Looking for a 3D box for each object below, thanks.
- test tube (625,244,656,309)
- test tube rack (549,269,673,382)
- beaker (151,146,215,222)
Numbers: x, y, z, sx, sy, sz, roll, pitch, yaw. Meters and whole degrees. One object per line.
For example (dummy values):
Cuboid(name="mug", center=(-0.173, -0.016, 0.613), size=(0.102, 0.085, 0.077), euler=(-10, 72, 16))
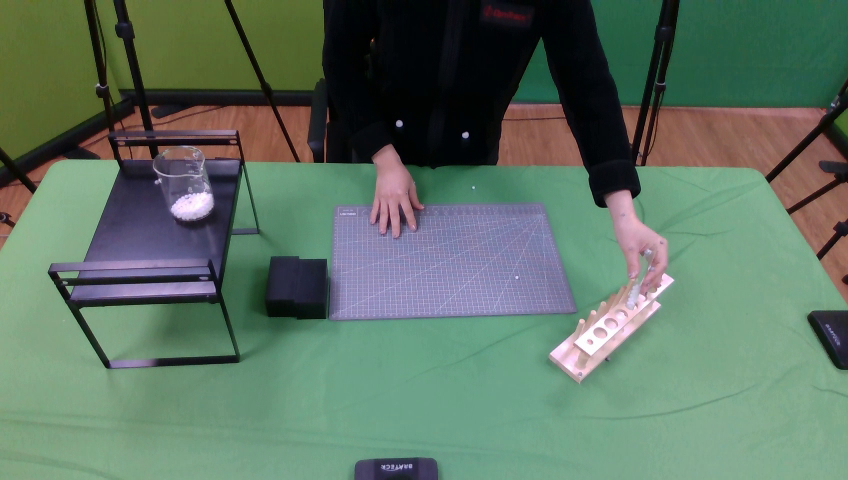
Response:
Cuboid(name="test tube", center=(0.350, 0.067, 0.985), size=(0.017, 0.151, 0.017), euler=(1, 41, -1))
Cuboid(name="test tube rack", center=(0.325, 0.134, 1.047), size=(0.242, 0.085, 0.066), euler=(-32, 55, -30))
Cuboid(name="beaker", center=(-0.370, -0.084, 0.948), size=(0.083, 0.101, 0.074), euler=(27, 50, 19))
